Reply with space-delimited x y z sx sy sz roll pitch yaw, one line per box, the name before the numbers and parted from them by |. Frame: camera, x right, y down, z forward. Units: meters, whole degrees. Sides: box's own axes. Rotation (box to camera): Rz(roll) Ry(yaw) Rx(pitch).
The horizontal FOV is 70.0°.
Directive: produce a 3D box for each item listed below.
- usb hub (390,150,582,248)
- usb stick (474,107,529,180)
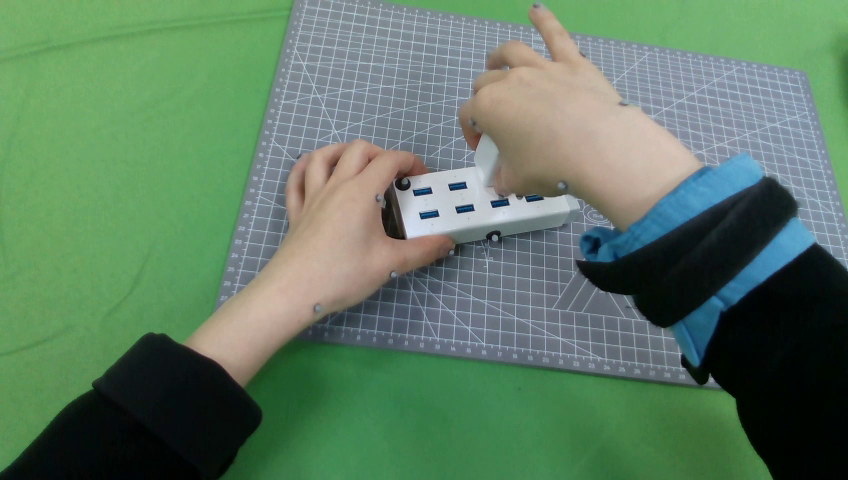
usb hub | 0.042 -0.031 0.421 0.125 0.025 0.049 -10 65 -13
usb stick | 0.049 -0.059 0.402 0.021 0.059 0.027 -9 61 -15
